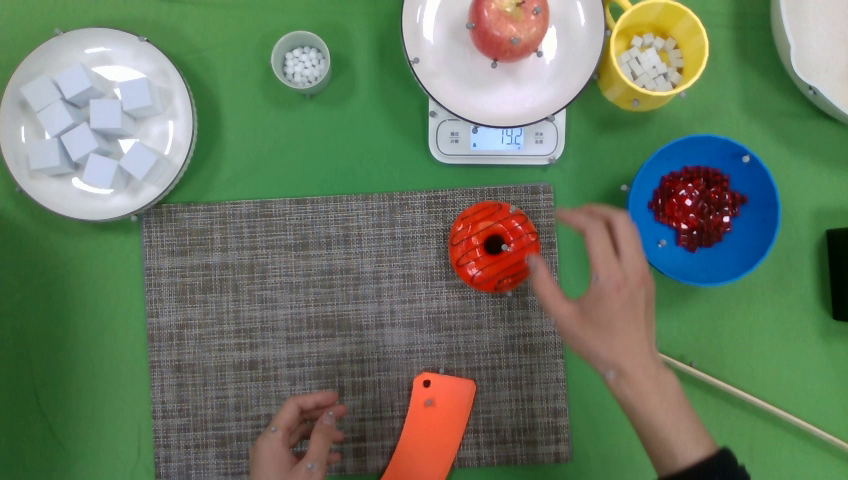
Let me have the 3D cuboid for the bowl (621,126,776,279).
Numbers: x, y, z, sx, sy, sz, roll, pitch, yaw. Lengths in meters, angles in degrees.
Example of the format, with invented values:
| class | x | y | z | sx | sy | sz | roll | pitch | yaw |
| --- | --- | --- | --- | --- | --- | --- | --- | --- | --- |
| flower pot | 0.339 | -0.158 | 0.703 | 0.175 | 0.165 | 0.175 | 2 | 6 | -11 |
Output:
| class | x | y | z | sx | sy | sz | roll | pitch | yaw |
| --- | --- | --- | --- | --- | --- | --- | --- | --- | --- |
| bowl | 0.271 | -0.036 | 0.630 | 0.151 | 0.077 | 0.151 | 0 | 89 | 0 |

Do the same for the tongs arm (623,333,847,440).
| class | x | y | z | sx | sy | sz | roll | pitch | yaw |
| --- | --- | --- | --- | --- | --- | --- | --- | --- | --- |
| tongs arm | 0.390 | 0.189 | 0.651 | 0.387 | 0.028 | 0.028 | 26 | 81 | 0 |

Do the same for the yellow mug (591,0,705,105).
| class | x | y | z | sx | sy | sz | roll | pitch | yaw |
| --- | --- | --- | --- | --- | --- | --- | --- | --- | --- |
| yellow mug | 0.224 | -0.212 | 0.639 | 0.100 | 0.064 | 0.130 | -36 | 88 | 0 |

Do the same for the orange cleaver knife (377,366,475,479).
| class | x | y | z | sx | sy | sz | roll | pitch | yaw |
| --- | --- | --- | --- | --- | --- | --- | --- | --- | --- |
| orange cleaver knife | -0.012 | 0.232 | 0.649 | 0.077 | 0.012 | 0.211 | 25 | 87 | -6 |

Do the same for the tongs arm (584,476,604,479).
| class | x | y | z | sx | sy | sz | roll | pitch | yaw |
| --- | --- | --- | --- | --- | --- | --- | --- | --- | --- |
| tongs arm | 0.365 | 0.272 | 0.647 | 0.385 | 0.026 | 0.050 | 11 | 85 | -1 |

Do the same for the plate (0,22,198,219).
| class | x | y | z | sx | sy | sz | roll | pitch | yaw |
| --- | --- | --- | --- | --- | --- | --- | --- | --- | --- |
| plate | -0.343 | -0.125 | 0.649 | 0.208 | 0.039 | 0.207 | 0 | 89 | 0 |

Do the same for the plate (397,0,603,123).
| class | x | y | z | sx | sy | sz | roll | pitch | yaw |
| --- | --- | --- | --- | --- | --- | --- | --- | --- | --- |
| plate | 0.076 | -0.222 | 0.623 | 0.209 | 0.038 | 0.209 | 0 | 89 | -1 |

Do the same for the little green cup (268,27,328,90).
| class | x | y | z | sx | sy | sz | roll | pitch | yaw |
| --- | --- | --- | --- | --- | --- | --- | --- | --- | --- |
| little green cup | -0.132 | -0.193 | 0.651 | 0.061 | 0.038 | 0.061 | 0 | 88 | 0 |

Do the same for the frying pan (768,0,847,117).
| class | x | y | z | sx | sy | sz | roll | pitch | yaw |
| --- | --- | --- | --- | --- | --- | --- | --- | --- | --- |
| frying pan | 0.552 | -0.166 | 0.621 | 0.307 | 0.103 | 0.486 | -30 | 81 | 0 |

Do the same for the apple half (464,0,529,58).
| class | x | y | z | sx | sy | sz | roll | pitch | yaw |
| --- | --- | --- | --- | --- | --- | --- | --- | --- | --- |
| apple half | 0.063 | -0.201 | 0.595 | 0.081 | 0.081 | 0.033 | 42 | 86 | 1 |

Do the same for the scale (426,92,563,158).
| class | x | y | z | sx | sy | sz | roll | pitch | yaw |
| --- | --- | --- | --- | --- | --- | --- | --- | --- | --- |
| scale | 0.077 | -0.190 | 0.655 | 0.149 | 0.031 | 0.200 | 1 | 89 | 0 |

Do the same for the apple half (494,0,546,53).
| class | x | y | z | sx | sy | sz | roll | pitch | yaw |
| --- | --- | --- | --- | --- | --- | --- | --- | --- | --- |
| apple half | 0.088 | -0.231 | 0.597 | 0.080 | 0.075 | 0.053 | 42 | 86 | 4 |

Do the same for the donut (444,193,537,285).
| class | x | y | z | sx | sy | sz | roll | pitch | yaw |
| --- | --- | --- | --- | --- | --- | --- | --- | --- | --- |
| donut | 0.070 | -0.001 | 0.641 | 0.099 | 0.048 | 0.099 | 0 | 89 | 2 |
